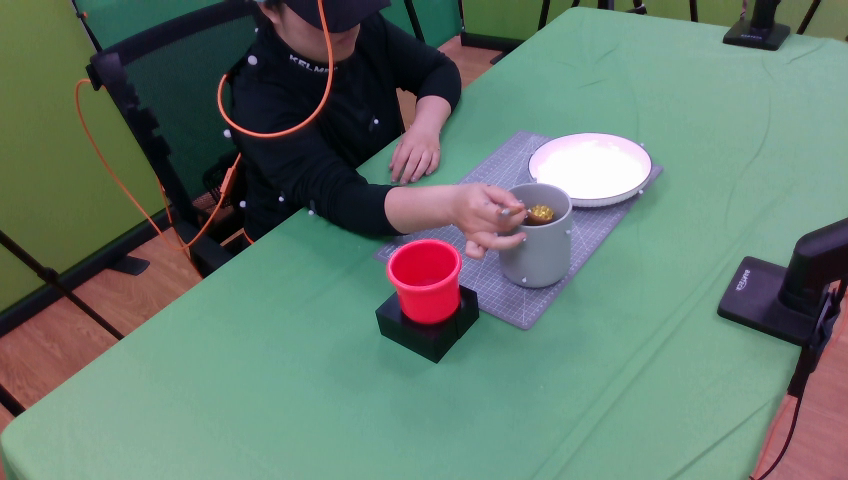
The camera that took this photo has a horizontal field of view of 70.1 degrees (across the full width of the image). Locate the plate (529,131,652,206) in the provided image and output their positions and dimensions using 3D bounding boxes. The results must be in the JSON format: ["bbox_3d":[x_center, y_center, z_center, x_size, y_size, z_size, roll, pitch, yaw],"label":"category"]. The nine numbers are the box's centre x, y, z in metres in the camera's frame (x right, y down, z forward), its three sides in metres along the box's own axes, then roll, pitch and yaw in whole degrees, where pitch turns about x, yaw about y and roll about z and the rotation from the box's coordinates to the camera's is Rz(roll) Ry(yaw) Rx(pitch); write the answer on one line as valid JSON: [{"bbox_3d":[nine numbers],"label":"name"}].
[{"bbox_3d":[0.287,-0.121,1.056,0.207,0.039,0.206,-5,40,5],"label":"plate"}]

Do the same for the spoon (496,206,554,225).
[{"bbox_3d":[0.132,-0.035,0.805,0.041,0.021,0.195,13,3,27],"label":"spoon"}]

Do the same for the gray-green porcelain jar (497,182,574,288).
[{"bbox_3d":[0.160,-0.003,0.869,0.106,0.127,0.105,-5,40,5],"label":"gray-green porcelain jar"}]
